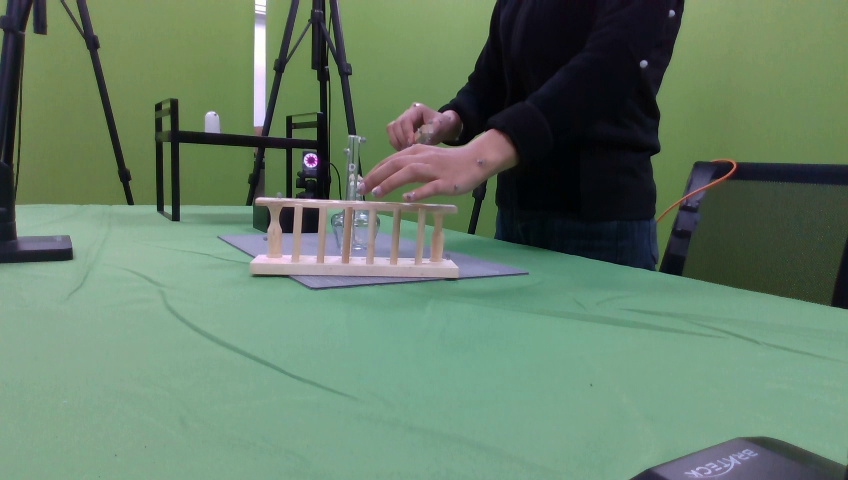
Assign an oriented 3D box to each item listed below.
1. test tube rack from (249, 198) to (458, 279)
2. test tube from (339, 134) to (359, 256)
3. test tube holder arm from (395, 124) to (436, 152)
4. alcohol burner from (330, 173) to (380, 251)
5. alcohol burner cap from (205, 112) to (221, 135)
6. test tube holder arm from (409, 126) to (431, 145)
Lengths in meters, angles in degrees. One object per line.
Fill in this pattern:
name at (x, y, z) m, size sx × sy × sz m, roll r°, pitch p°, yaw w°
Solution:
test tube rack at (-0.082, -0.002, 0.732) m, size 0.243 × 0.085 × 0.066 m, roll 2°, pitch 8°, yaw -7°
test tube at (-0.092, -0.054, 0.743) m, size 0.017 × 0.150 × 0.017 m, roll 5°, pitch 5°, yaw 0°
test tube holder arm at (-0.016, -0.161, 0.969) m, size 0.013 × 0.015 × 0.178 m, roll -18°, pitch 5°, yaw -17°
alcohol burner at (-0.107, -0.044, 0.938) m, size 0.078 × 0.119 × 0.078 m, roll 1°, pitch 6°, yaw 0°
alcohol burner cap at (-0.443, -0.245, 1.270) m, size 0.034 × 0.048 × 0.034 m, roll 3°, pitch 8°, yaw 0°
test tube holder arm at (-0.008, -0.159, 0.925) m, size 0.010 × 0.015 × 0.087 m, roll -18°, pitch 5°, yaw -15°
